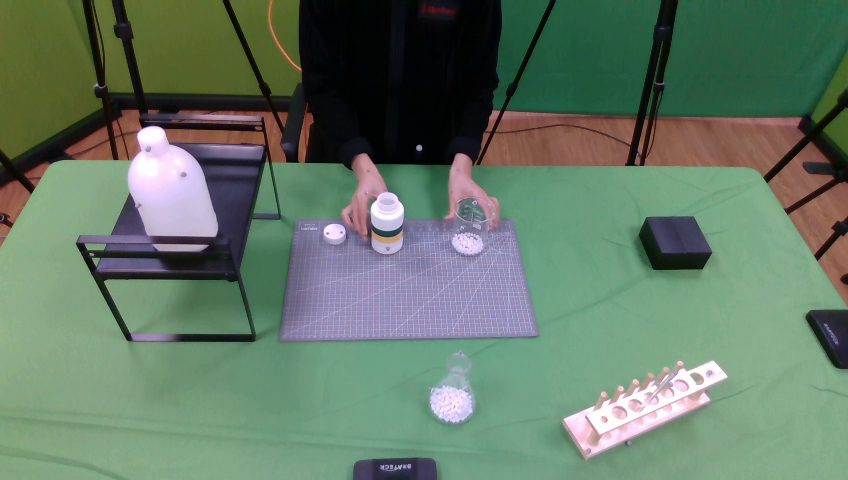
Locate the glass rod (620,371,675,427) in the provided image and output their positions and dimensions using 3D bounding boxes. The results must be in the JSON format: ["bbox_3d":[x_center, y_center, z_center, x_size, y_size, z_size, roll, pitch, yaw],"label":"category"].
[{"bbox_3d":[0.316,0.230,0.863,0.008,0.200,0.008,3,54,-3],"label":"glass rod"}]

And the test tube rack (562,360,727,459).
[{"bbox_3d":[0.341,0.247,0.940,0.243,0.085,0.066,-16,49,-18],"label":"test tube rack"}]

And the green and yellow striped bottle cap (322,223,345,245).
[{"bbox_3d":[-0.179,-0.013,1.198,0.045,0.020,0.045,2,49,-3],"label":"green and yellow striped bottle cap"}]

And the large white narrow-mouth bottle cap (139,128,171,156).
[{"bbox_3d":[-0.359,-0.131,0.808,0.038,0.024,0.037,3,47,-3],"label":"large white narrow-mouth bottle cap"}]

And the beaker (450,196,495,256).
[{"bbox_3d":[0.091,-0.024,1.170,0.084,0.101,0.073,15,47,10],"label":"beaker"}]

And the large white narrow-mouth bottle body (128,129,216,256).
[{"bbox_3d":[-0.366,-0.073,0.872,0.102,0.195,0.101,3,47,-3],"label":"large white narrow-mouth bottle body"}]

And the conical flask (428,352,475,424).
[{"bbox_3d":[0.046,0.220,0.920,0.075,0.122,0.075,2,46,-2],"label":"conical flask"}]

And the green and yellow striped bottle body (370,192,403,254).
[{"bbox_3d":[-0.072,-0.035,1.153,0.063,0.120,0.063,2,46,-2],"label":"green and yellow striped bottle body"}]
